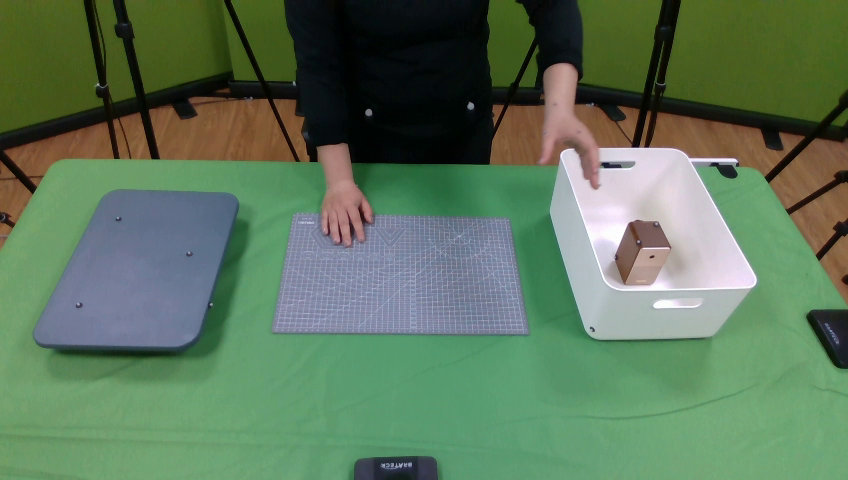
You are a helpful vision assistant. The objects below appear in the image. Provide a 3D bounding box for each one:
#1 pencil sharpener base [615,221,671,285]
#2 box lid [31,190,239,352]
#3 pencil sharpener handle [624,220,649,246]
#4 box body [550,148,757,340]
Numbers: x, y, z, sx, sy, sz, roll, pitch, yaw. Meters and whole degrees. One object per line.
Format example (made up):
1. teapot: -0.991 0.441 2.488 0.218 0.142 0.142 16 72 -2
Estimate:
1. pencil sharpener base: 0.407 0.024 1.136 0.061 0.107 0.076 -1 45 -4
2. box lid: -0.491 0.040 1.070 0.263 0.015 0.369 1 46 -3
3. pencil sharpener handle: 0.402 -0.020 1.163 0.036 0.068 0.030 5 44 -10
4. box body: 0.395 0.003 1.127 0.254 0.161 0.361 -1 46 -5
